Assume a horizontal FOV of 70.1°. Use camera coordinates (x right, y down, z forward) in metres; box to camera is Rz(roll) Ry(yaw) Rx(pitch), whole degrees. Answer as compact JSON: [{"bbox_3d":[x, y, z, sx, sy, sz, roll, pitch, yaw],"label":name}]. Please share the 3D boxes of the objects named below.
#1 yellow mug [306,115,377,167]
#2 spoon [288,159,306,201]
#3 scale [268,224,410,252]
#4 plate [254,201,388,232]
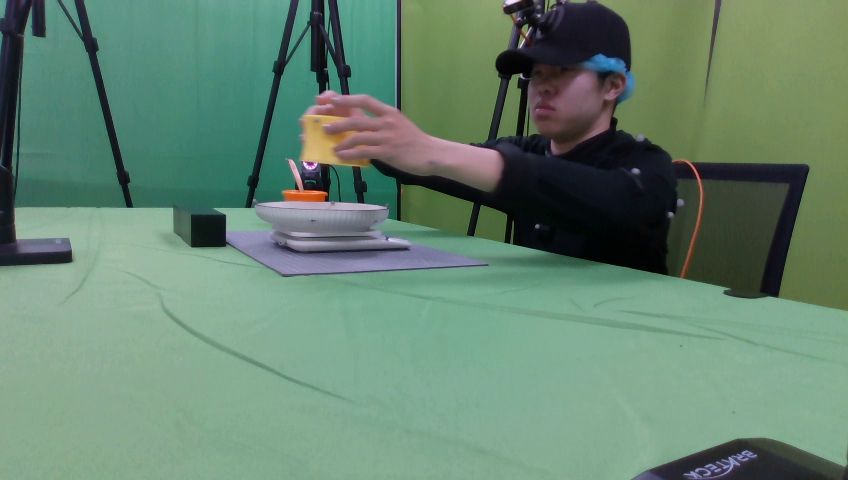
[{"bbox_3d":[-0.116,-0.146,0.907,0.099,0.064,0.131,8,6,18],"label":"yellow mug"},{"bbox_3d":[-0.259,-0.103,1.268,0.042,0.193,0.021,3,-39,-33],"label":"spoon"},{"bbox_3d":[-0.137,-0.006,0.980,0.202,0.031,0.148,-1,8,-30],"label":"scale"},{"bbox_3d":[-0.161,-0.038,0.961,0.209,0.038,0.209,2,6,0],"label":"plate"}]
